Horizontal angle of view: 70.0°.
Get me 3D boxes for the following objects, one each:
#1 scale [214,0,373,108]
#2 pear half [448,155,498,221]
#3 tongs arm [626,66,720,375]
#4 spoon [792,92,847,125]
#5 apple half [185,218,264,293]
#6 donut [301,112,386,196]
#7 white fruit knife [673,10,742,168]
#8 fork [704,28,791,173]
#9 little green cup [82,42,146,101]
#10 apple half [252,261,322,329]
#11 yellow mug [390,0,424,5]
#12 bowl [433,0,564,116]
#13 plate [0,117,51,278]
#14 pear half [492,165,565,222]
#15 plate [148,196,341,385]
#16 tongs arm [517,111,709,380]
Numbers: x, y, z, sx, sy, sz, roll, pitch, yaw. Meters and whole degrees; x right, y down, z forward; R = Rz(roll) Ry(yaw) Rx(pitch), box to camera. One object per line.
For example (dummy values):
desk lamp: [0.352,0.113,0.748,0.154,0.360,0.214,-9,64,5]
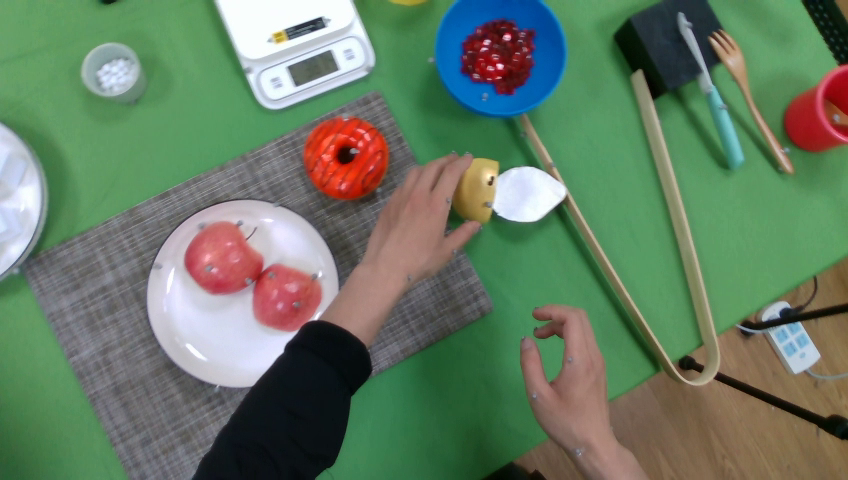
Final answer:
scale: [-0.162,-0.271,0.721,0.149,0.031,0.200,-24,88,-6]
pear half: [0.056,-0.062,0.684,0.056,0.110,0.076,3,80,-3]
tongs arm: [0.305,-0.027,0.747,0.028,0.028,0.386,-13,86,-15]
spoon: [0.525,-0.130,0.715,0.041,0.022,0.191,-33,44,-8]
apple half: [-0.223,0.017,0.665,0.074,0.053,0.081,-34,92,-5]
donut: [-0.092,-0.099,0.702,0.099,0.048,0.099,0,86,-3]
white fruit knife: [0.343,-0.181,0.736,0.016,0.027,0.208,-30,103,-7]
fork: [0.404,-0.169,0.748,0.028,0.018,0.208,-38,105,-10]
little green cup: [-0.351,-0.190,0.693,0.061,0.038,0.061,0,84,-5]
apple half: [-0.157,0.063,0.680,0.081,0.033,0.081,1,84,-5]
yellow mug: [-0.035,-0.352,0.723,0.131,0.064,0.100,30,83,-1]
bowl: [0.081,-0.211,0.715,0.151,0.077,0.151,0,85,-5]
plate: [-0.515,-0.044,0.665,0.208,0.039,0.207,1,85,-5]
pear half: [0.124,-0.054,0.727,0.088,0.031,0.070,-2,82,9]
plate: [-0.197,0.055,0.681,0.209,0.038,0.208,1,85,-5]
tongs arm: [0.226,0.006,0.731,0.051,0.026,0.384,-28,89,-13]
